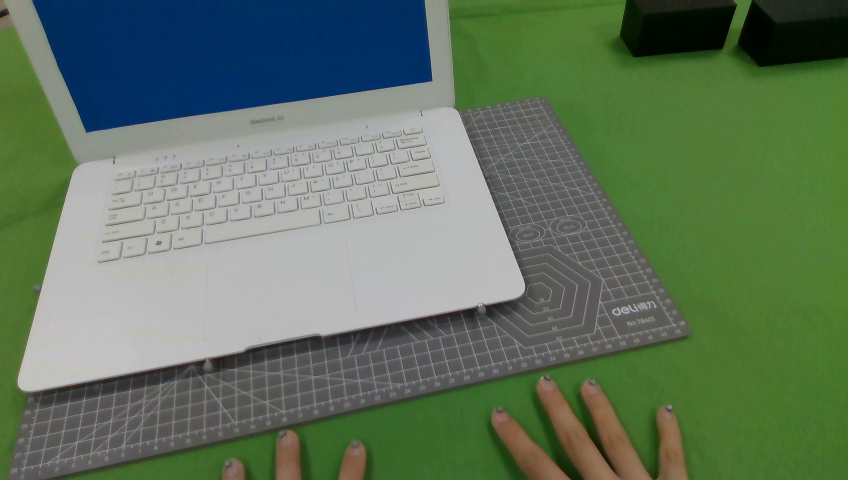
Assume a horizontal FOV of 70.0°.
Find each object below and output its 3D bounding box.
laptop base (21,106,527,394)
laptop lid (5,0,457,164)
[{"bbox_3d":[-0.118,-0.009,0.495,0.355,0.023,0.233,-10,51,-6],"label":"laptop base"},{"bbox_3d":[-0.152,-0.192,0.508,0.357,0.244,0.013,-11,33,-5],"label":"laptop lid"}]
